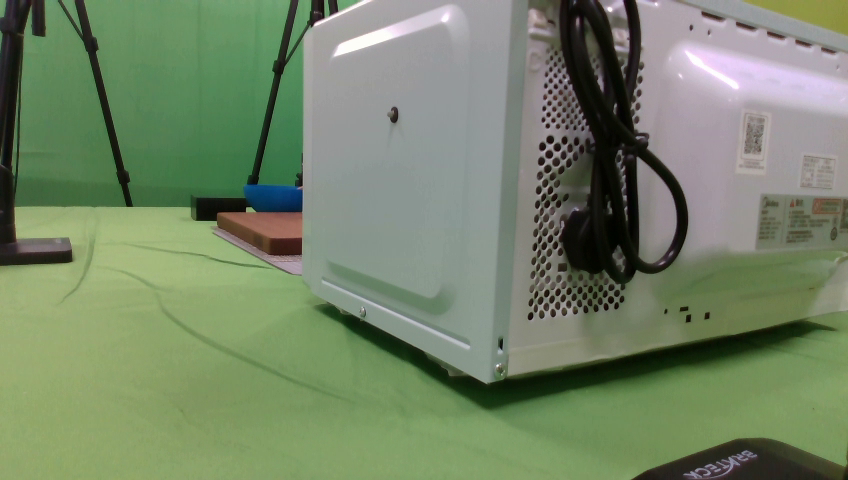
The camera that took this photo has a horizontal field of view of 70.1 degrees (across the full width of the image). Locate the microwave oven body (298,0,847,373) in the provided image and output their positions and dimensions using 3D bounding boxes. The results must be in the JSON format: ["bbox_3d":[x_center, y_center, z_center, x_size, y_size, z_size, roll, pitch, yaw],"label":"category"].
[{"bbox_3d":[0.151,-0.055,0.543,0.444,0.260,0.324,-1,7,-33],"label":"microwave oven body"}]

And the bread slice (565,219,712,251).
[{"bbox_3d":[0.207,-0.007,0.576,0.105,0.019,0.131,2,6,-9],"label":"bread slice"}]

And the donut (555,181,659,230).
[{"bbox_3d":[0.180,-0.033,0.597,0.099,0.048,0.099,-2,7,1],"label":"donut"}]

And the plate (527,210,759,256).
[{"bbox_3d":[0.203,-0.009,0.580,0.208,0.039,0.207,0,3,0],"label":"plate"}]

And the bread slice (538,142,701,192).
[{"bbox_3d":[0.192,-0.071,0.578,0.107,0.018,0.133,-1,19,-33],"label":"bread slice"}]

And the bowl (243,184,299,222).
[{"bbox_3d":[-0.321,-0.081,1.334,0.151,0.077,0.151,3,7,0],"label":"bowl"}]

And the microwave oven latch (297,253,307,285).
[{"bbox_3d":[-0.082,0.027,0.583,0.079,0.029,0.030,-1,7,-33],"label":"microwave oven latch"}]

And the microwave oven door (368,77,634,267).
[{"bbox_3d":[0.094,-0.099,0.832,0.355,0.243,0.039,5,8,18],"label":"microwave oven door"}]

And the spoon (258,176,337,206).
[{"bbox_3d":[-0.279,-0.112,1.357,0.194,0.021,0.041,-28,19,-27],"label":"spoon"}]
